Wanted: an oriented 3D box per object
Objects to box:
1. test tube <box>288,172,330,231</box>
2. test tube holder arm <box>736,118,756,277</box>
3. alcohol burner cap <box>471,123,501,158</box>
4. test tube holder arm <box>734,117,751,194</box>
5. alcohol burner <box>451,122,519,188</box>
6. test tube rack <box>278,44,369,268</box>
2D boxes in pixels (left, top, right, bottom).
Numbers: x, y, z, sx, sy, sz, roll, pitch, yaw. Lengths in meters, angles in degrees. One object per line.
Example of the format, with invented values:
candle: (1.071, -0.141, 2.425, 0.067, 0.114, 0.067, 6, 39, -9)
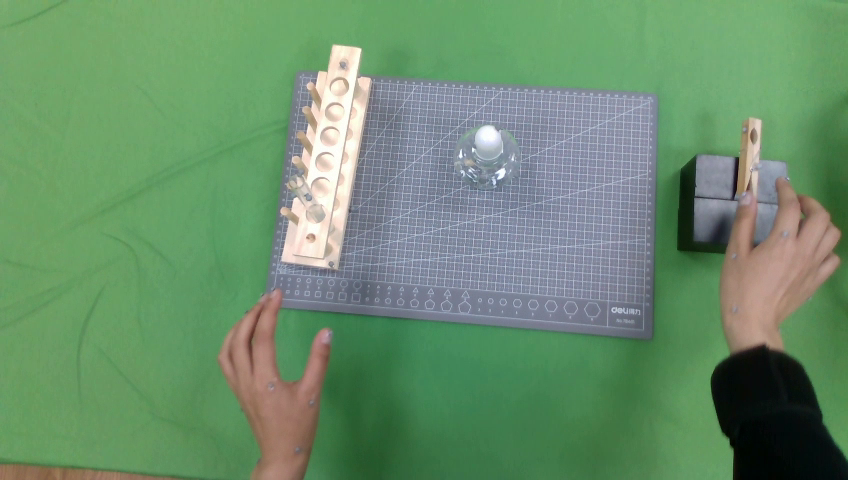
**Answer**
test tube: (-0.119, -0.036, 0.637, 0.017, 0.151, 0.017, 0, 74, 2)
test tube holder arm: (0.352, -0.048, 0.662, 0.013, 0.015, 0.177, 7, 80, -2)
alcohol burner cap: (0.066, -0.108, 0.644, 0.034, 0.048, 0.034, 0, 84, 5)
test tube holder arm: (0.352, -0.093, 0.669, 0.010, 0.015, 0.087, 8, 80, -2)
alcohol burner: (0.069, -0.101, 0.679, 0.078, 0.119, 0.077, -1, 80, 4)
test tube rack: (-0.120, -0.096, 0.699, 0.067, 0.085, 0.241, 8, 80, 4)
